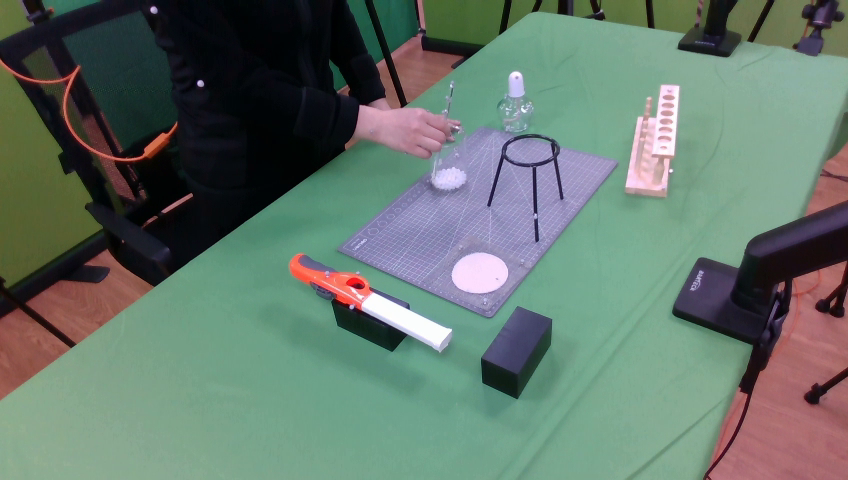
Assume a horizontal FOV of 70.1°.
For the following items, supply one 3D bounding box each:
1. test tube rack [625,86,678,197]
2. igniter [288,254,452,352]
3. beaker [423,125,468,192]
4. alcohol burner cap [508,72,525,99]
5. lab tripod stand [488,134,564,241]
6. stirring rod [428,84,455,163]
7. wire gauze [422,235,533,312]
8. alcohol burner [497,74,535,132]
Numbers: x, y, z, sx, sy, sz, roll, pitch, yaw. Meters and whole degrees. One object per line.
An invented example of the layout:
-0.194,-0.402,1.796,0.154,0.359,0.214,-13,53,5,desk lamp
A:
0.412,-0.184,1.088,0.066,0.085,0.242,9,43,18,test tube rack
-0.083,0.079,0.818,0.274,0.025,0.057,23,46,27,igniter
0.042,-0.144,1.078,0.073,0.100,0.084,28,51,34,beaker
0.181,-0.306,1.186,0.034,0.048,0.033,-7,39,6,alcohol burner cap
0.168,-0.092,0.972,0.148,0.132,0.147,-5,41,5,lab tripod stand
0.028,-0.190,1.005,0.014,0.176,0.006,-33,67,-29,stirring rod
0.081,0.049,0.914,0.120,0.011,0.125,26,52,32,wire gauze
0.184,-0.278,1.210,0.078,0.119,0.077,-3,42,3,alcohol burner
